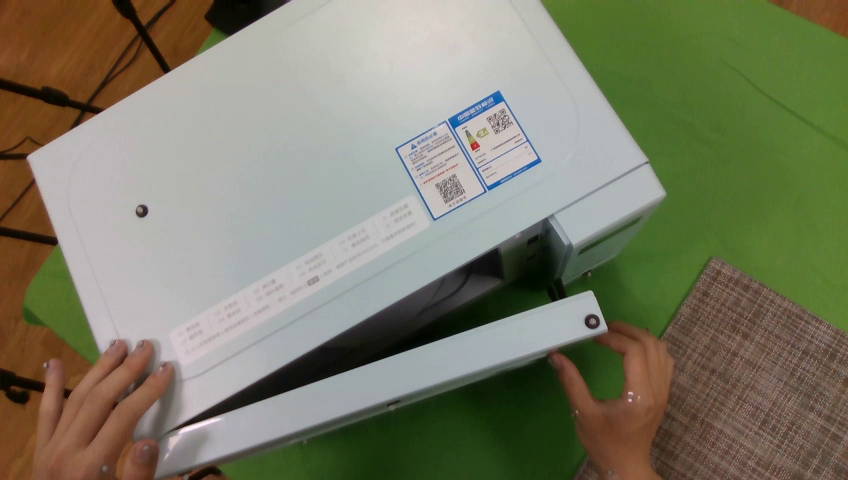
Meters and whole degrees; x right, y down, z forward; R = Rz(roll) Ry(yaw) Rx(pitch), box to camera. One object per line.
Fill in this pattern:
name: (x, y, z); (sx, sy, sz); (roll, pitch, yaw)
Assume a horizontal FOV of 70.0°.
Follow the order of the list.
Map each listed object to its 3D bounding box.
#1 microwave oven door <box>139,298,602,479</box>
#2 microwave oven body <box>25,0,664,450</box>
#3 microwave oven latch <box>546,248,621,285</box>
microwave oven door: (-0.026, 0.131, 0.548); (0.356, 0.245, 0.039); (-20, 75, 4)
microwave oven body: (-0.069, -0.039, 0.595); (0.442, 0.261, 0.324); (-30, 76, 2)
microwave oven latch: (0.170, 0.018, 0.647); (0.079, 0.029, 0.030); (-28, 76, 3)
